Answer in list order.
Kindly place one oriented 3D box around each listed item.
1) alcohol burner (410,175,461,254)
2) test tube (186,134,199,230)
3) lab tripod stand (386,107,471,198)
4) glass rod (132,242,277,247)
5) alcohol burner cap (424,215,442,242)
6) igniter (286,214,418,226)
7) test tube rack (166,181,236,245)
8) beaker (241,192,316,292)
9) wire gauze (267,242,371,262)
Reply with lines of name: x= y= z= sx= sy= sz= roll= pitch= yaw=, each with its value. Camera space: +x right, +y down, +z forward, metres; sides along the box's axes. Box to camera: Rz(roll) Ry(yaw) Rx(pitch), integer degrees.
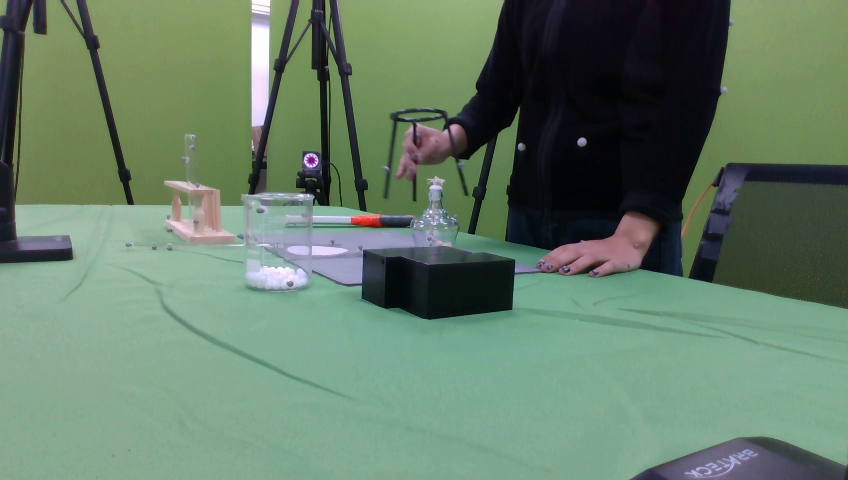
alcohol burner: x=0.018 y=-0.040 z=0.931 sx=0.078 sy=0.119 sz=0.078 roll=0 pitch=7 yaw=0
test tube: x=-0.360 y=-0.089 z=0.946 sx=0.017 sy=0.150 sz=0.017 roll=0 pitch=10 yaw=0
lab tripod stand: x=-0.003 y=-0.130 z=0.921 sx=0.148 sy=0.131 sz=0.148 roll=-2 pitch=3 yaw=0
glass rod: x=-0.316 y=0.007 z=0.885 sx=0.201 sy=0.008 sz=0.008 roll=0 pitch=7 yaw=-27
alcohol burner cap: x=0.017 y=-0.022 z=1.098 sx=0.034 sy=0.048 sz=0.034 roll=2 pitch=9 yaw=0
igniter: x=-0.145 y=-0.043 z=1.263 sx=0.278 sy=0.025 sz=0.057 roll=-1 pitch=-2 yaw=-24
test tube rack: x=-0.383 y=-0.051 z=1.024 sx=0.067 sy=0.085 sz=0.241 roll=-2 pitch=9 yaw=-31
beaker: x=-0.157 y=0.000 z=0.642 sx=0.084 sy=0.100 sz=0.074 roll=4 pitch=7 yaw=19
wire gauze: x=-0.155 y=0.013 z=0.877 sx=0.122 sy=0.011 sz=0.124 roll=-3 pitch=10 yaw=-29
